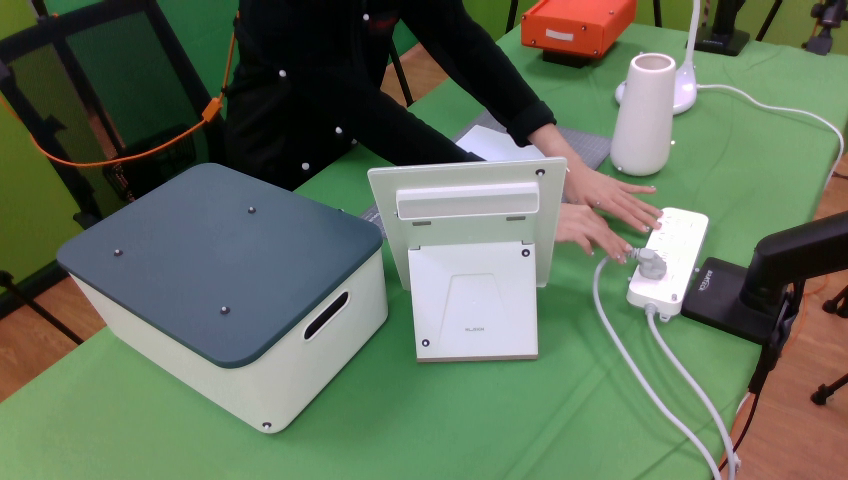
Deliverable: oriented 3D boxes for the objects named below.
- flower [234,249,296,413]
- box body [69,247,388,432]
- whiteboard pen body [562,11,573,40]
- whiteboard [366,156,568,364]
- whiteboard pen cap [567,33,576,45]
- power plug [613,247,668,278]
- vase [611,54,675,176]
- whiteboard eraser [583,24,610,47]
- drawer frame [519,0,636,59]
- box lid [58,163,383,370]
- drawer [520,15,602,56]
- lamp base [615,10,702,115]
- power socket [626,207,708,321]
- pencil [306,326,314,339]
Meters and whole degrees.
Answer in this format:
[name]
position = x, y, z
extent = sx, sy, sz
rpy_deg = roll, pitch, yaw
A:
[flower]
position = -0.244, 0.109, 0.870
extent = 0.044, 0.038, 0.358
rpy_deg = 10, 26, -32
[box body]
position = -0.256, 0.065, 0.826
extent = 0.361, 0.161, 0.255
rpy_deg = 20, 48, 29
[whiteboard pen body]
position = 0.340, -0.506, 1.430
extent = 0.017, 0.017, 0.140
rpy_deg = -1, 44, 7
[whiteboard]
position = 0.059, 0.050, 0.738
extent = 0.217, 0.307, 0.143
rpy_deg = -2, 60, 6
[whiteboard pen cap]
position = 0.339, -0.463, 1.390
extent = 0.018, 0.018, 0.033
rpy_deg = -2, 44, 5
[power plug]
position = 0.306, 0.032, 0.851
extent = 0.072, 0.053, 0.035
rpy_deg = 23, 49, 34
[vase]
position = 0.377, -0.209, 1.031
extent = 0.098, 0.201, 0.097
rpy_deg = -3, 40, 3
[whiteboard eraser]
position = 0.407, -0.479, 1.423
extent = 0.055, 0.042, 0.113
rpy_deg = -3, 9, 20
[drawer frame]
position = 0.362, -0.518, 1.423
extent = 0.200, 0.083, 0.214
rpy_deg = 19, 48, 29
[box lid]
position = -0.262, 0.010, 0.777
extent = 0.369, 0.015, 0.264
rpy_deg = 21, 47, 29
[drawer]
position = 0.359, -0.517, 1.416
extent = 0.193, 0.073, 0.212
rpy_deg = 20, 47, 29
[lamp base]
position = 0.484, -0.364, 1.211
extent = 0.180, 0.181, 0.159
rpy_deg = -15, 41, -14
[power socket]
position = 0.359, 0.025, 0.886
extent = 0.072, 0.033, 0.227
rpy_deg = 16, 46, 26
[pencil]
position = -0.187, 0.106, 0.880
extent = 0.012, 0.012, 0.192
rpy_deg = -27, 41, -22
